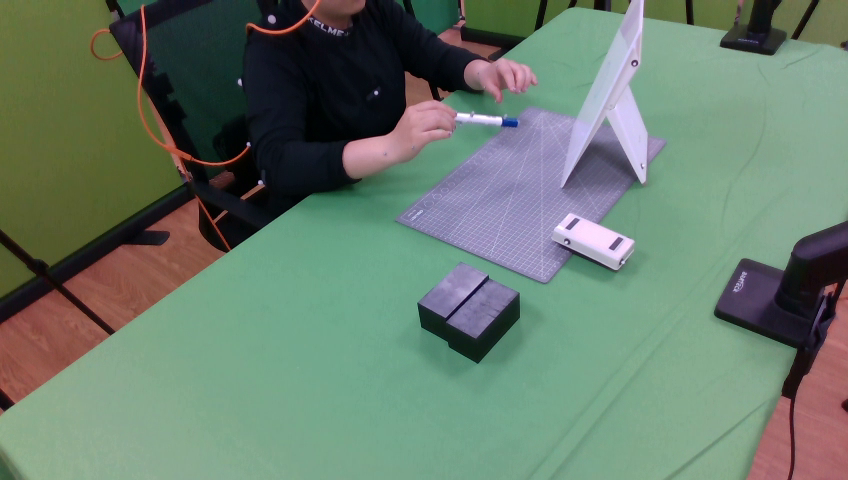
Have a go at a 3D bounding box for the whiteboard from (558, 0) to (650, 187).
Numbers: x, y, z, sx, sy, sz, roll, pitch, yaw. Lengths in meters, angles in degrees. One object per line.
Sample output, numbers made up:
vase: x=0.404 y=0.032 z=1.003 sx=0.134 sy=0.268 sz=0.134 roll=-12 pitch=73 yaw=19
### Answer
whiteboard: x=0.362 y=-0.238 z=1.026 sx=0.144 sy=0.306 sz=0.217 roll=21 pitch=45 yaw=4

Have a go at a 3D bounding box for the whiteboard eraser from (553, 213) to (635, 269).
whiteboard eraser: x=0.257 y=0.003 z=0.918 sx=0.112 sy=0.042 sz=0.056 roll=27 pitch=49 yaw=30

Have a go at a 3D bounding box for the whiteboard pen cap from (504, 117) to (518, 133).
whiteboard pen cap: x=0.154 y=-0.202 z=1.069 sx=0.018 sy=0.033 sz=0.018 roll=-17 pitch=55 yaw=26

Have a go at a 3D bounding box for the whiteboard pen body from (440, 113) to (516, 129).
whiteboard pen body: x=0.095 y=-0.205 z=1.048 sx=0.141 sy=0.017 sz=0.017 roll=3 pitch=38 yaw=-16
